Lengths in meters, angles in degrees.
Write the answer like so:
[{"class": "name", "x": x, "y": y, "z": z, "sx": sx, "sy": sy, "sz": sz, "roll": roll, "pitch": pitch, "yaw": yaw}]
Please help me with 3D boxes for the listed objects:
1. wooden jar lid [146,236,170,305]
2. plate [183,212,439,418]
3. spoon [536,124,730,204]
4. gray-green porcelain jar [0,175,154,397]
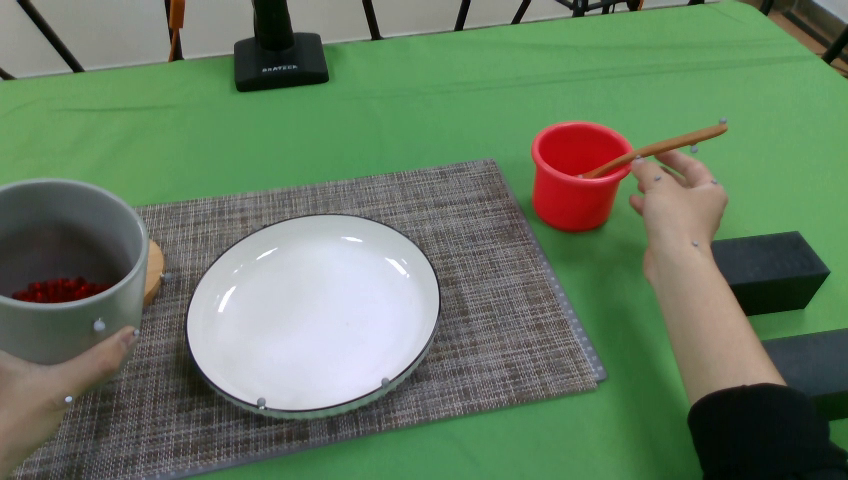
[{"class": "wooden jar lid", "x": -0.286, "y": 0.034, "z": 0.549, "sx": 0.108, "sy": 0.021, "sz": 0.107, "roll": 1, "pitch": 45, "yaw": 0}, {"class": "plate", "x": -0.091, "y": 0.060, "z": 0.514, "sx": 0.208, "sy": 0.039, "sz": 0.205, "roll": 0, "pitch": 46, "yaw": 0}, {"class": "spoon", "x": 0.187, "y": -0.071, "z": 0.570, "sx": 0.193, "sy": 0.022, "sz": 0.041, "roll": -23, "pitch": 27, "yaw": 45}, {"class": "gray-green porcelain jar", "x": -0.245, "y": 0.037, "z": 0.409, "sx": 0.106, "sy": 0.127, "sz": 0.105, "roll": 16, "pitch": 43, "yaw": -16}]
